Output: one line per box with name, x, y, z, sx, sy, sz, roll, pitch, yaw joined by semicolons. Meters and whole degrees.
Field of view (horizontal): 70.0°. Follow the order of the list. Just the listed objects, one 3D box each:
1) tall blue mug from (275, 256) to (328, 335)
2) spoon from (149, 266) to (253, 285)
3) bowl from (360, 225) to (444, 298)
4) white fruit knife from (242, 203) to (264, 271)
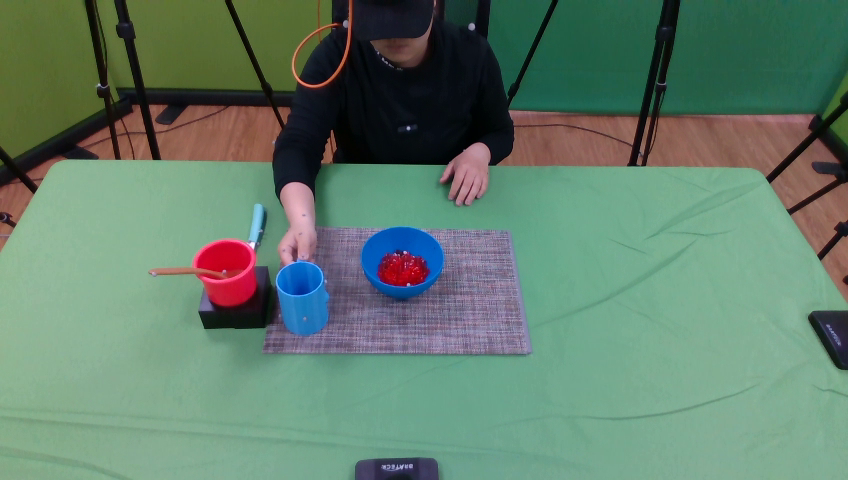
tall blue mug;-0.214;0.088;1.030;0.078;0.108;0.106;-26;54;-24
spoon;-0.351;0.052;0.968;0.041;0.021;0.194;41;12;28
bowl;-0.040;0.053;1.099;0.151;0.077;0.150;2;46;-2
white fruit knife;-0.334;0.001;1.179;0.027;0.016;0.206;-18;46;16
